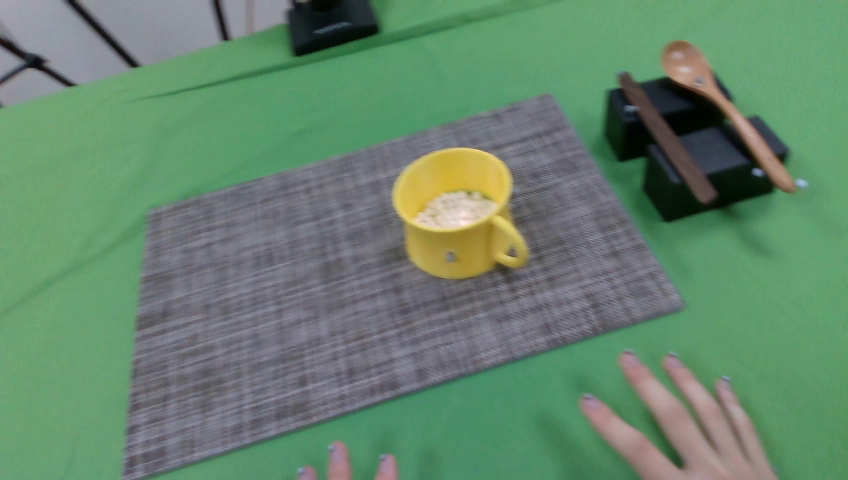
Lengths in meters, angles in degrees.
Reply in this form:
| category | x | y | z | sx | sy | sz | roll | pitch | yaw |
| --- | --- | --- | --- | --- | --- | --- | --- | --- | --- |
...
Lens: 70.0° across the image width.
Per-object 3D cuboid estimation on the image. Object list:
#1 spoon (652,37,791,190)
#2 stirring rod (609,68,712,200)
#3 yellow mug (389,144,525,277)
| category | x | y | z | sx | sy | sz | roll | pitch | yaw |
| --- | --- | --- | --- | --- | --- | --- | --- | --- | --- |
| spoon | 0.254 | -0.115 | 0.523 | 0.041 | 0.022 | 0.191 | -16 | 52 | -3 |
| stirring rod | 0.200 | -0.098 | 0.524 | 0.014 | 0.006 | 0.174 | -42 | 43 | 28 |
| yellow mug | 0.036 | -0.019 | 0.522 | 0.129 | 0.064 | 0.100 | 34 | 65 | 32 |
